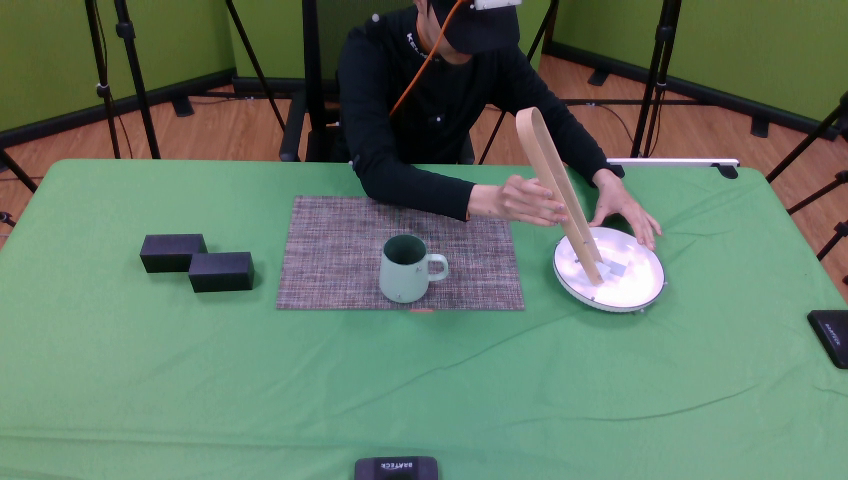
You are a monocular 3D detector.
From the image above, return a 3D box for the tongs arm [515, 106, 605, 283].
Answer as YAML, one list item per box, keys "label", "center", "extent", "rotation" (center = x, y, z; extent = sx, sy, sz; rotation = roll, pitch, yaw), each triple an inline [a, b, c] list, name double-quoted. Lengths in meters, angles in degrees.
- label: "tongs arm"
  center: [0.239, -0.061, 1.027]
  extent: [0.026, 0.387, 0.050]
  rotation: [-7, 47, 34]

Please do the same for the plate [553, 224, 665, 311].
- label: "plate"
  center: [0.349, 0.055, 1.159]
  extent: [0.209, 0.038, 0.208]
  rotation: [2, 47, -2]

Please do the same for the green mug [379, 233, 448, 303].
- label: "green mug"
  center: [-0.019, 0.050, 1.085]
  extent: [0.125, 0.105, 0.092]
  rotation: [-1, 46, -4]

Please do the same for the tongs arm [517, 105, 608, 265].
- label: "tongs arm"
  center: [0.248, -0.081, 1.044]
  extent: [0.027, 0.390, 0.028]
  rotation: [-4, 46, 36]
